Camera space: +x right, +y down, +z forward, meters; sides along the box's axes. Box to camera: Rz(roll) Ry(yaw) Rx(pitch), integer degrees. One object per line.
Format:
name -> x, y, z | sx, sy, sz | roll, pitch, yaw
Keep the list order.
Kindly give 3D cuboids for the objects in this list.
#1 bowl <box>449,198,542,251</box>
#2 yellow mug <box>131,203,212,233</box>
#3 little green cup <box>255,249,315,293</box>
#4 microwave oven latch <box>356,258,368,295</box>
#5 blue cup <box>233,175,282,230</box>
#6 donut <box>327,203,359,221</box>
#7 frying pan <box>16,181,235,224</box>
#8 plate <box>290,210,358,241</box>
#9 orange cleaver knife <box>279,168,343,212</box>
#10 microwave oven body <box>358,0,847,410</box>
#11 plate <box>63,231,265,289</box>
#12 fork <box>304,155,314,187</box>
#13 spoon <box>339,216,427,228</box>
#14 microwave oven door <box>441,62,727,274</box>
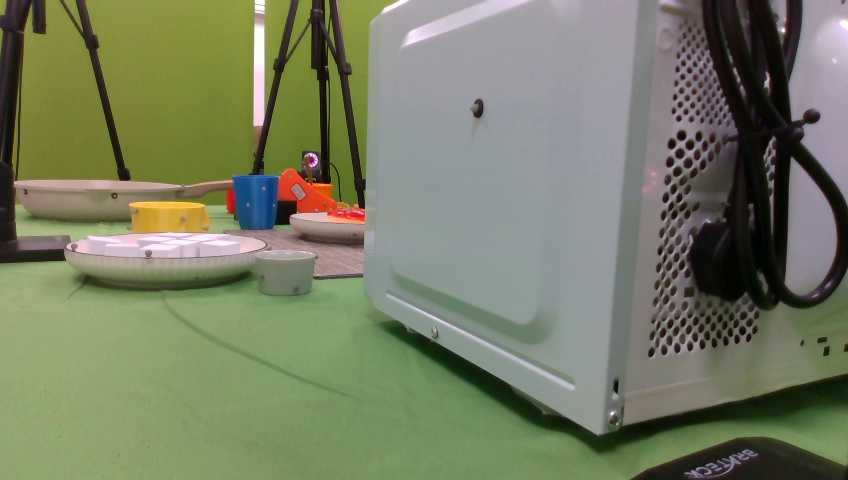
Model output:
bowl -> 0.114, -0.025, 0.988 | 0.151, 0.077, 0.151 | 2, 8, 0
yellow mug -> -0.356, -0.020, 0.878 | 0.099, 0.064, 0.131 | 5, 7, 22
little green cup -> -0.144, 0.031, 0.627 | 0.061, 0.038, 0.061 | 2, 6, 0
microwave oven latch -> -0.019, 0.031, 0.529 | 0.079, 0.029, 0.030 | -1, 7, -26
blue cup -> -0.314, -0.071, 1.141 | 0.093, 0.100, 0.092 | 0, 7, 0
donut -> -0.120, -0.037, 1.056 | 0.099, 0.048, 0.099 | 5, 7, 0
frying pan -> -0.554, -0.097, 1.266 | 0.490, 0.102, 0.305 | -10, 13, -24
plate -> -0.127, -0.025, 1.051 | 0.209, 0.038, 0.209 | 2, 8, 0
orange cleaver knife -> -0.236, -0.084, 1.333 | 0.212, 0.077, 0.012 | 31, -9, -32
microwave oven body -> 0.210, -0.051, 0.472 | 0.444, 0.260, 0.324 | -1, 7, -28
plate -> -0.288, 0.021, 0.687 | 0.208, 0.039, 0.207 | 2, 8, 0
fork -> -0.268, -0.134, 1.446 | 0.028, 0.018, 0.207 | 1, -36, -1
spoon -> -0.087, -0.041, 1.268 | 0.193, 0.021, 0.041 | 4, 24, 13
microwave oven door -> 0.187, -0.097, 0.784 | 0.354, 0.243, 0.039 | 6, 8, 30
